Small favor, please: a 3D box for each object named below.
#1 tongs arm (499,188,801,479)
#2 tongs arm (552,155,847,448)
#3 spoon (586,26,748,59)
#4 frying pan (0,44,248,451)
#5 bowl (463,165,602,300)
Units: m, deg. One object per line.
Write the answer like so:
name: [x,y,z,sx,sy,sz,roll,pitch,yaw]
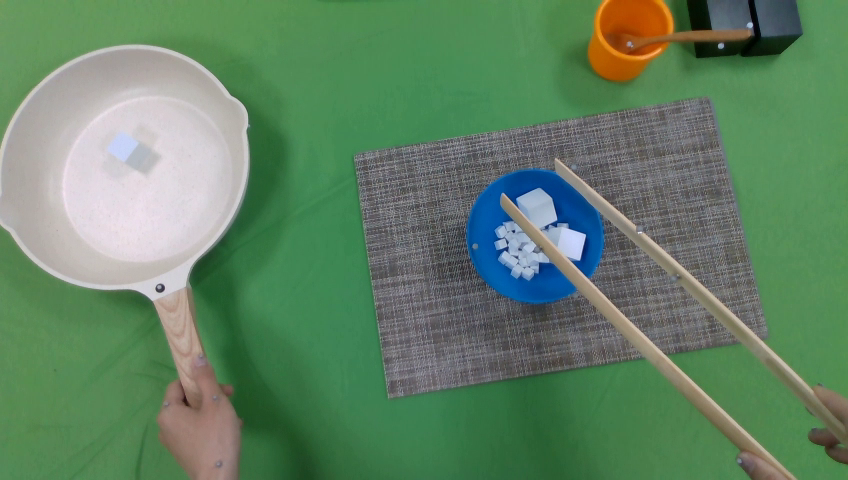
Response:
tongs arm: [0.186,0.076,0.505,0.028,0.028,0.383,-32,57,-15]
tongs arm: [0.219,0.055,0.511,0.051,0.027,0.381,-33,58,-12]
spoon: [0.271,-0.232,0.697,0.022,0.192,0.041,34,78,-37]
frying pan: [-0.307,0.006,0.691,0.307,0.103,0.484,-23,73,-2]
bowl: [0.119,-0.002,0.693,0.151,0.077,0.151,0,80,1]
